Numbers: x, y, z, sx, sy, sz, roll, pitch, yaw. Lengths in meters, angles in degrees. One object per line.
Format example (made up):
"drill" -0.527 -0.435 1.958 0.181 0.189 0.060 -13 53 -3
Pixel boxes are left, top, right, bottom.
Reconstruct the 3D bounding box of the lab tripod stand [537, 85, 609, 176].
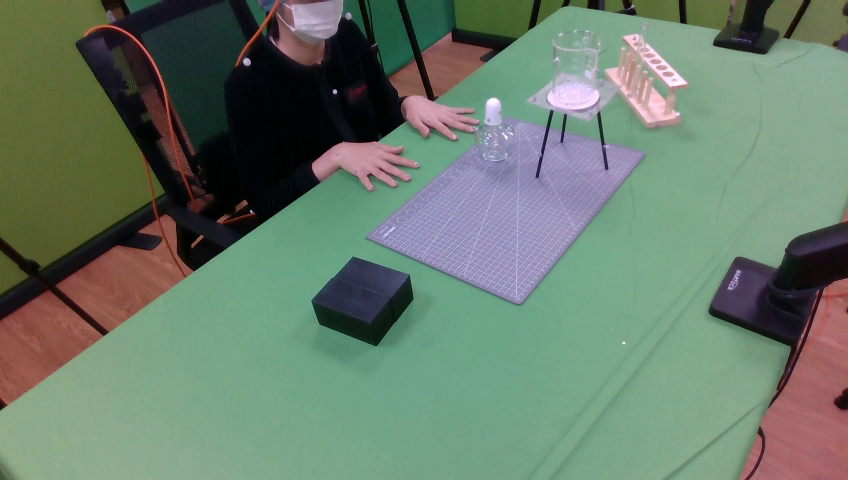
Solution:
"lab tripod stand" 0.259 -0.192 1.068 0.148 0.132 0.147 -4 43 4

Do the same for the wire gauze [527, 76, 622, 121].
"wire gauze" 0.255 -0.247 1.030 0.124 0.011 0.122 23 49 34

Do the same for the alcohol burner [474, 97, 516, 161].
"alcohol burner" 0.131 -0.208 1.121 0.078 0.119 0.077 -6 40 5

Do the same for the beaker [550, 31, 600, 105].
"beaker" 0.250 -0.281 0.996 0.074 0.101 0.083 -37 49 -27

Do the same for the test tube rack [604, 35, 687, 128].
"test tube rack" 0.447 -0.330 1.242 0.067 0.085 0.241 -9 41 -2

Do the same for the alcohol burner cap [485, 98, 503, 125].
"alcohol burner cap" 0.126 -0.234 1.097 0.034 0.048 0.033 -3 39 3

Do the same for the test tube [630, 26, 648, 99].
"test tube" 0.426 -0.350 1.199 0.017 0.151 0.017 -4 42 4
